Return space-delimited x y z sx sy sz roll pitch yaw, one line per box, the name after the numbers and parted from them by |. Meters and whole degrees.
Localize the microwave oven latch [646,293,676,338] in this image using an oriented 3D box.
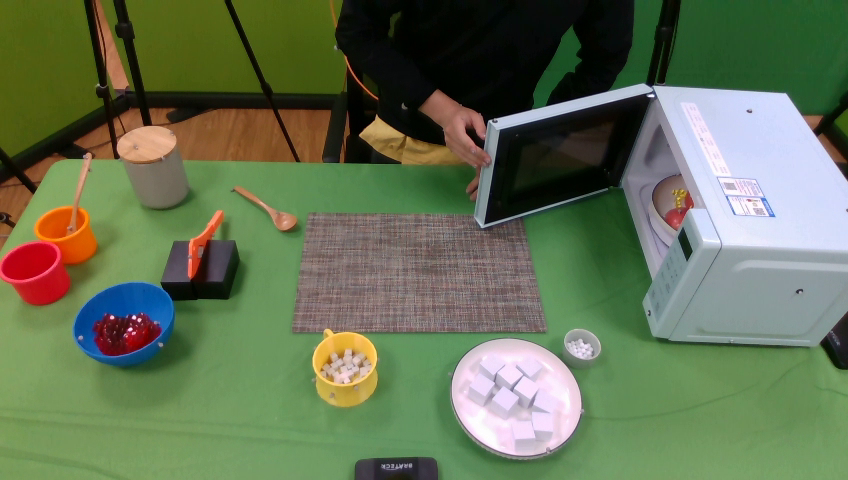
0.412 0.133 1.060 0.030 0.029 0.078 3 46 0 | microwave oven latch

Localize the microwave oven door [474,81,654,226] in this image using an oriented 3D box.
0.275 -0.171 1.200 0.356 0.245 0.039 -17 50 -19 | microwave oven door

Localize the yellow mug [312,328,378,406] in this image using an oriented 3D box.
-0.132 0.193 0.971 0.100 0.064 0.130 -22 51 -22 | yellow mug

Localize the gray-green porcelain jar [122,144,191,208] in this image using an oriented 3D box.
-0.531 -0.137 1.214 0.106 0.127 0.105 2 47 -2 | gray-green porcelain jar

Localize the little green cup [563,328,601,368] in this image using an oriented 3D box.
0.265 0.184 1.025 0.061 0.039 0.061 1 46 -1 | little green cup

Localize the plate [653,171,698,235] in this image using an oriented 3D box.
0.551 -0.054 1.188 0.209 0.038 0.208 2 47 -2 | plate

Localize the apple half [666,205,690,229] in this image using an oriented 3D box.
0.507 -0.046 1.168 0.081 0.033 0.081 4 46 -4 | apple half

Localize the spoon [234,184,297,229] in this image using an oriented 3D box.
-0.327 -0.073 1.239 0.193 0.022 0.041 34 70 25 | spoon

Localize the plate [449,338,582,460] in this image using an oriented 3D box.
0.141 0.251 0.956 0.208 0.039 0.206 2 46 -2 | plate

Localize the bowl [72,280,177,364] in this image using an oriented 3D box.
-0.473 0.147 0.982 0.151 0.077 0.150 2 46 -2 | bowl

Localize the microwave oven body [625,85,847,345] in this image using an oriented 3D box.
0.568 -0.054 1.116 0.326 0.261 0.439 2 46 -1 | microwave oven body

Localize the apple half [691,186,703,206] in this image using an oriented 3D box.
0.570 -0.089 1.194 0.081 0.053 0.074 0 33 14 | apple half

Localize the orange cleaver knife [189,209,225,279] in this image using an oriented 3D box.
-0.401 0.002 1.122 0.012 0.077 0.210 4 23 -4 | orange cleaver knife

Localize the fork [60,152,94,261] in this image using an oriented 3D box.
-0.638 -0.063 1.120 0.028 0.018 0.207 12 90 5 | fork

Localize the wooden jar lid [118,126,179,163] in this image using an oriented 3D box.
-0.528 -0.181 1.167 0.108 0.021 0.107 4 47 -4 | wooden jar lid
